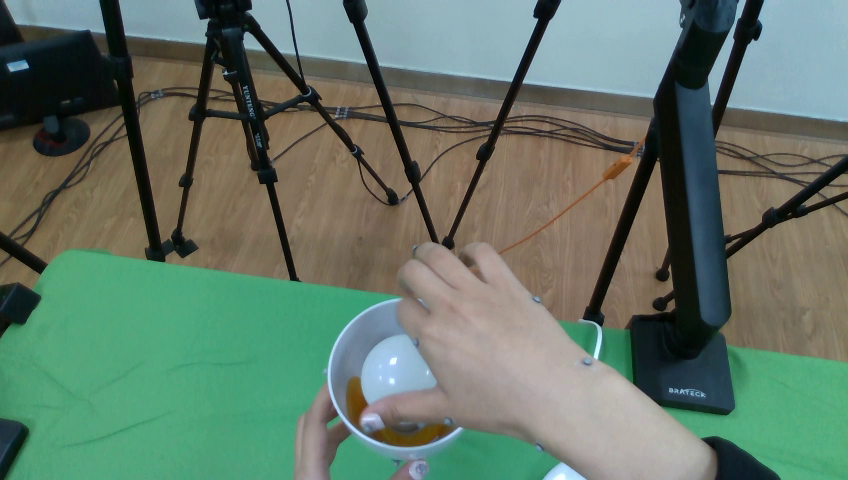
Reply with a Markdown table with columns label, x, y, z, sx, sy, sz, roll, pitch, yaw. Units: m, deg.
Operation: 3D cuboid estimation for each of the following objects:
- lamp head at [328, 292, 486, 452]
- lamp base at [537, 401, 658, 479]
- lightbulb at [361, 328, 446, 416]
| label | x | y | z | sx | sy | sz | roll | pitch | yaw |
| --- | --- | --- | --- | --- | --- | --- | --- | --- | --- |
| lamp head | -0.008 | 0.114 | 0.471 | 0.112 | 0.124 | 0.111 | -2 | 59 | 4 |
| lamp base | 0.195 | 0.249 | 0.606 | 0.161 | 0.182 | 0.177 | -4 | 52 | -4 |
| lightbulb | -0.014 | 0.103 | 0.445 | 0.059 | 0.108 | 0.059 | 1 | 61 | -1 |
